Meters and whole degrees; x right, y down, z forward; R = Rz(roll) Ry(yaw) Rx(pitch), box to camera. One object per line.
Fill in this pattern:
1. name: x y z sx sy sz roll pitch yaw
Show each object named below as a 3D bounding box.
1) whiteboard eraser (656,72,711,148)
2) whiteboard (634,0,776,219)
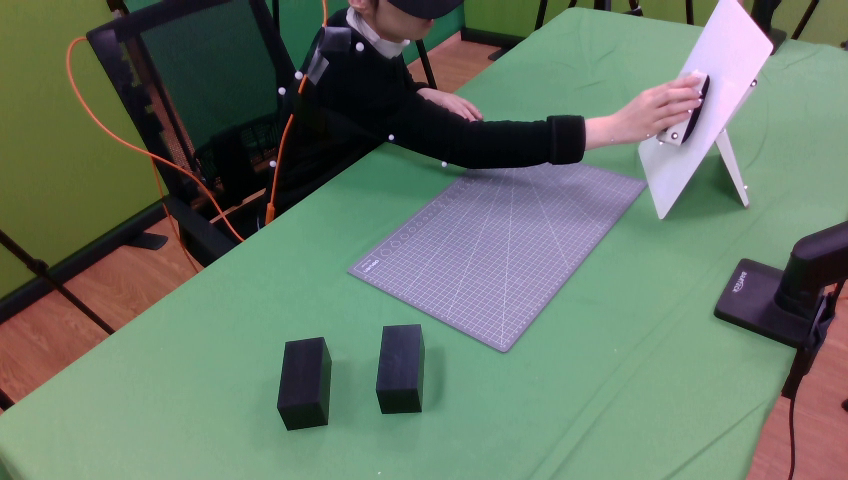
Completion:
1. whiteboard eraser: 0.400 -0.200 0.931 0.042 0.112 0.055 15 16 -8
2. whiteboard: 0.485 -0.192 0.956 0.144 0.305 0.216 14 41 -4
